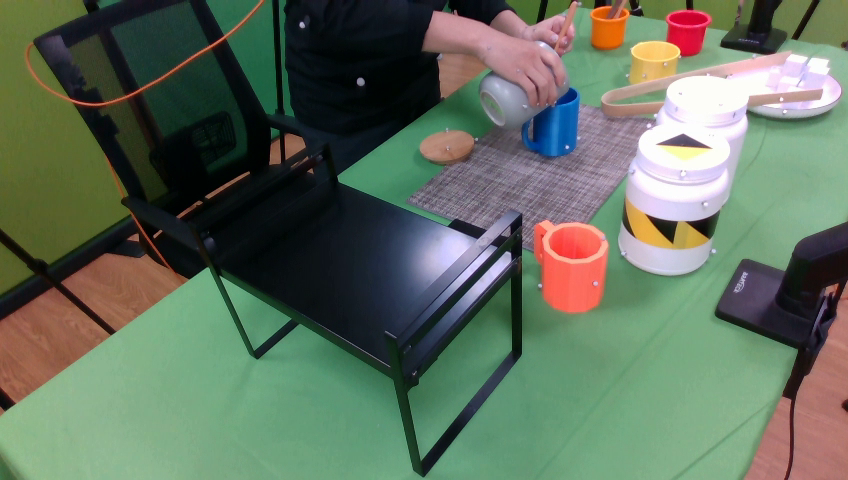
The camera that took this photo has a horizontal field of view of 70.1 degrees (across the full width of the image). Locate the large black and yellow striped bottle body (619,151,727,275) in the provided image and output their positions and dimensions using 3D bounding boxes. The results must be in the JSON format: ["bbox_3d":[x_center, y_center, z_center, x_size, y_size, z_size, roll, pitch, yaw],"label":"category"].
[{"bbox_3d":[0.354,-0.056,0.865,0.131,0.185,0.130,-4,41,4],"label":"large black and yellow striped bottle body"}]

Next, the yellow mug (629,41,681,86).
[{"bbox_3d":[0.495,-0.389,1.321,0.100,0.064,0.130,-14,40,-6],"label":"yellow mug"}]

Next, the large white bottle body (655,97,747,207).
[{"bbox_3d":[0.430,-0.148,0.959,0.130,0.185,0.130,-4,41,4],"label":"large white bottle body"}]

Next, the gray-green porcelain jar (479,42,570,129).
[{"bbox_3d":[0.167,-0.260,1.038,0.126,0.106,0.105,-36,46,-9],"label":"gray-green porcelain jar"}]

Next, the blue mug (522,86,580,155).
[{"bbox_3d":[0.233,-0.218,1.127,0.117,0.106,0.081,-23,43,-16],"label":"blue mug"}]

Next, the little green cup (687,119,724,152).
[{"bbox_3d":[0.513,-0.191,1.109,0.061,0.039,0.061,-5,40,5],"label":"little green cup"}]

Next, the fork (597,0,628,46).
[{"bbox_3d":[0.479,-0.558,1.455,0.028,0.019,0.207,35,100,38],"label":"fork"}]

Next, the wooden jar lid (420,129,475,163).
[{"bbox_3d":[0.047,-0.183,1.183,0.108,0.021,0.108,-6,37,5],"label":"wooden jar lid"}]

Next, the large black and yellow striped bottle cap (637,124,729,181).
[{"bbox_3d":[0.346,-0.119,0.810,0.115,0.019,0.114,-5,41,5],"label":"large black and yellow striped bottle cap"}]

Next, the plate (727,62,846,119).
[{"bbox_3d":[0.709,-0.292,1.197,0.207,0.039,0.206,-4,40,4],"label":"plate"}]

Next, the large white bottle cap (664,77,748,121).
[{"bbox_3d":[0.421,-0.212,0.905,0.115,0.018,0.114,-4,40,4],"label":"large white bottle cap"}]

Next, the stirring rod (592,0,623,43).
[{"bbox_3d":[0.460,-0.557,1.461,0.014,0.176,0.006,35,11,22],"label":"stirring rod"}]

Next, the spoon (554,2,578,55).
[{"bbox_3d":[0.232,-0.333,1.074,0.041,0.022,0.193,21,84,42],"label":"spoon"}]

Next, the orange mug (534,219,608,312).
[{"bbox_3d":[0.200,0.027,0.858,0.084,0.101,0.125,-24,48,-18],"label":"orange mug"}]

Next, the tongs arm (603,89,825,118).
[{"bbox_3d":[0.546,-0.262,1.163,0.386,0.028,0.028,-1,49,18],"label":"tongs arm"}]

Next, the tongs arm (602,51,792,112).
[{"bbox_3d":[0.552,-0.320,1.224,0.384,0.027,0.050,-10,43,7],"label":"tongs arm"}]
